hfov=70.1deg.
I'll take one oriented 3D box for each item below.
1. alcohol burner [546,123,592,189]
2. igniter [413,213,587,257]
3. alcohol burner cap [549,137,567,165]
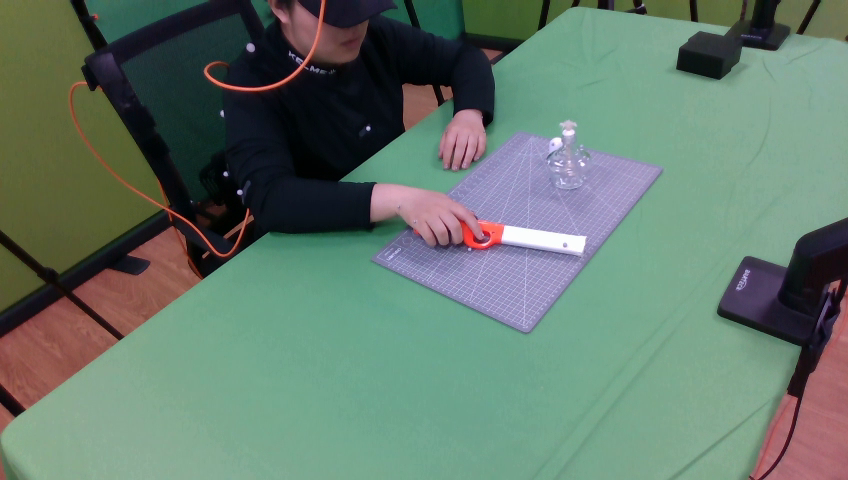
[{"bbox_3d":[0.248,-0.147,1.035,0.078,0.120,0.077,-7,41,6],"label":"alcohol burner"},{"bbox_3d":[0.116,-0.009,0.959,0.275,0.025,0.057,8,66,17],"label":"igniter"},{"bbox_3d":[0.247,-0.166,1.114,0.034,0.048,0.033,-6,40,5],"label":"alcohol burner cap"}]
